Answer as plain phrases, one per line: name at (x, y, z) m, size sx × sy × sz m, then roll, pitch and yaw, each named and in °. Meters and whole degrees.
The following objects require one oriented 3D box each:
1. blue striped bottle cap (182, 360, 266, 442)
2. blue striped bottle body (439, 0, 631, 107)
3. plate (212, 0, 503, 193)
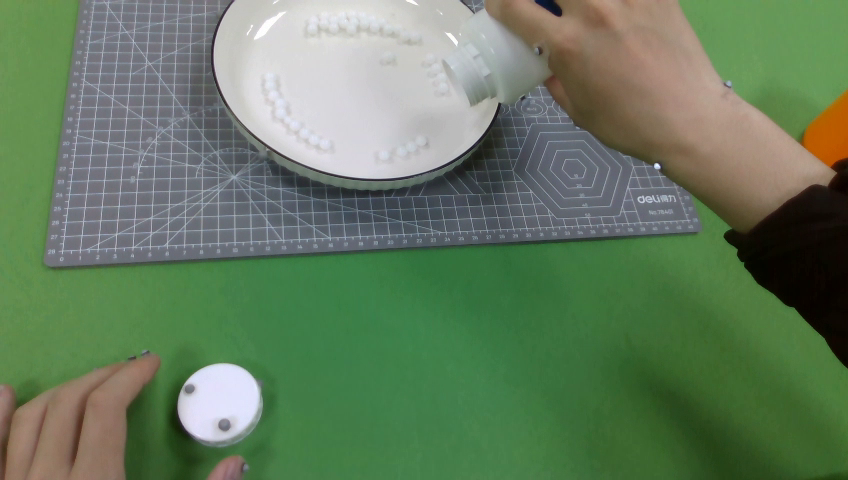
blue striped bottle cap at (-0.112, 0.090, 0.342) m, size 0.045 × 0.021 × 0.044 m, roll 4°, pitch 67°, yaw -9°
blue striped bottle body at (0.070, -0.138, 0.407) m, size 0.121 × 0.063 × 0.062 m, roll -32°, pitch 71°, yaw 2°
plate at (-0.045, -0.120, 0.446) m, size 0.208 × 0.039 × 0.206 m, roll 5°, pitch 62°, yaw -9°
